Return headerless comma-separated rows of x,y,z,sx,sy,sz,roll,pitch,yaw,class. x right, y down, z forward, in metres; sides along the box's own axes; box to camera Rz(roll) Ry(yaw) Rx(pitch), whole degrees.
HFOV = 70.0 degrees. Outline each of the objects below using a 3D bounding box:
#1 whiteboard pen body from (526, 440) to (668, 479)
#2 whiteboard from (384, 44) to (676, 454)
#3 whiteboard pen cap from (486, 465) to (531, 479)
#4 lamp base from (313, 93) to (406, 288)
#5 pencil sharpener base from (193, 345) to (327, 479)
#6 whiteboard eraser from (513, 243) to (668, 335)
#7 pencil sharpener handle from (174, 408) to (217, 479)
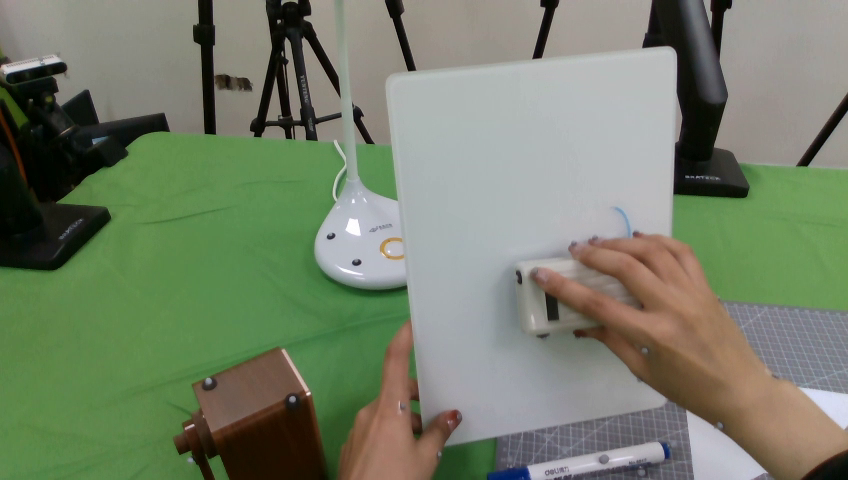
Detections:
0.123,0.175,0.473,0.141,0.017,0.017,-8,36,-7,whiteboard pen body
0.083,-0.001,0.535,0.217,0.307,0.143,-8,17,-7,whiteboard
0.066,0.184,0.466,0.033,0.018,0.018,-8,36,-8,whiteboard pen cap
-0.062,-0.065,0.685,0.161,0.182,0.177,-26,40,-29,lamp base
-0.124,0.146,0.458,0.077,0.108,0.060,-21,41,-24,pencil sharpener base
0.127,0.037,0.464,0.113,0.056,0.041,-8,9,-7,whiteboard eraser
-0.166,0.154,0.427,0.031,0.068,0.035,-22,27,-24,pencil sharpener handle
